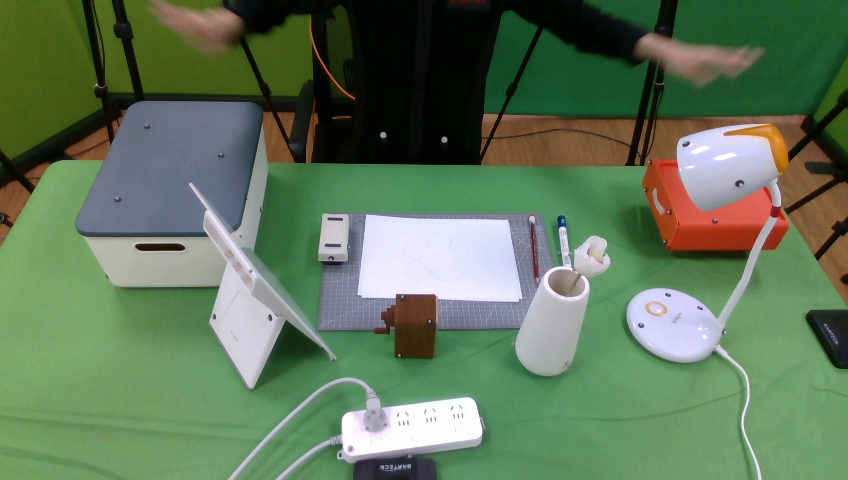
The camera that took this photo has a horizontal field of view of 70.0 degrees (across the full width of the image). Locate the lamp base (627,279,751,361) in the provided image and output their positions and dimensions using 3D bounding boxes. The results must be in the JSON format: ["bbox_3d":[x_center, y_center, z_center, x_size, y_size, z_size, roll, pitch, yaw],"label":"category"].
[{"bbox_3d":[0.459,0.100,1.027,0.178,0.181,0.160,27,51,17],"label":"lamp base"}]

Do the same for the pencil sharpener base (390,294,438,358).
[{"bbox_3d":[-0.018,0.143,1.000,0.077,0.107,0.061,1,46,-2],"label":"pencil sharpener base"}]

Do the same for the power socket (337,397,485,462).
[{"bbox_3d":[-0.018,0.285,0.915,0.227,0.033,0.071,-5,46,-8],"label":"power socket"}]

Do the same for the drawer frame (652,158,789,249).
[{"bbox_3d":[0.571,-0.075,1.214,0.214,0.083,0.200,0,46,-1],"label":"drawer frame"}]

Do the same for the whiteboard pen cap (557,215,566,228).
[{"bbox_3d":[0.284,-0.035,1.246,0.018,0.018,0.033,4,52,-1],"label":"whiteboard pen cap"}]

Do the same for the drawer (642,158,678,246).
[{"bbox_3d":[0.566,-0.076,1.211,0.212,0.073,0.193,2,45,-2],"label":"drawer"}]

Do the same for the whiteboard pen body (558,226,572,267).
[{"bbox_3d":[0.280,0.010,1.208,0.017,0.017,0.140,3,50,-1],"label":"whiteboard pen body"}]

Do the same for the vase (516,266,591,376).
[{"bbox_3d":[0.208,0.132,0.964,0.098,0.201,0.097,3,46,-3],"label":"vase"}]

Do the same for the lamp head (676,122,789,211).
[{"bbox_3d":[0.423,-0.104,0.819,0.122,0.113,0.112,-13,33,40],"label":"lamp head"}]

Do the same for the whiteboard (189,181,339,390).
[{"bbox_3d":[-0.292,0.096,0.929,0.144,0.307,0.216,-37,57,-10],"label":"whiteboard"}]

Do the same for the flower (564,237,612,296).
[{"bbox_3d":[0.206,0.088,0.893,0.038,0.363,0.044,-17,67,-9],"label":"flower"}]

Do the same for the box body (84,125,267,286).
[{"bbox_3d":[-0.446,-0.088,1.150,0.254,0.161,0.361,-1,46,-5],"label":"box body"}]

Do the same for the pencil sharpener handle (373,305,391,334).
[{"bbox_3d":[-0.069,0.133,0.989,0.030,0.068,0.036,1,47,-2],"label":"pencil sharpener handle"}]

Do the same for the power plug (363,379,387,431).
[{"bbox_3d":[-0.072,0.252,0.910,0.035,0.053,0.072,3,45,-1],"label":"power plug"}]

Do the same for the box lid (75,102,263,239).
[{"bbox_3d":[-0.443,-0.138,1.094,0.263,0.015,0.369,-1,47,-5],"label":"box lid"}]

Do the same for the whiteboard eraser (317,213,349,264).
[{"bbox_3d":[-0.175,-0.003,1.169,0.055,0.042,0.112,-1,46,-3],"label":"whiteboard eraser"}]

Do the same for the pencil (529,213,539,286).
[{"bbox_3d":[0.220,0.016,1.204,0.012,0.012,0.193,5,47,0],"label":"pencil"}]
